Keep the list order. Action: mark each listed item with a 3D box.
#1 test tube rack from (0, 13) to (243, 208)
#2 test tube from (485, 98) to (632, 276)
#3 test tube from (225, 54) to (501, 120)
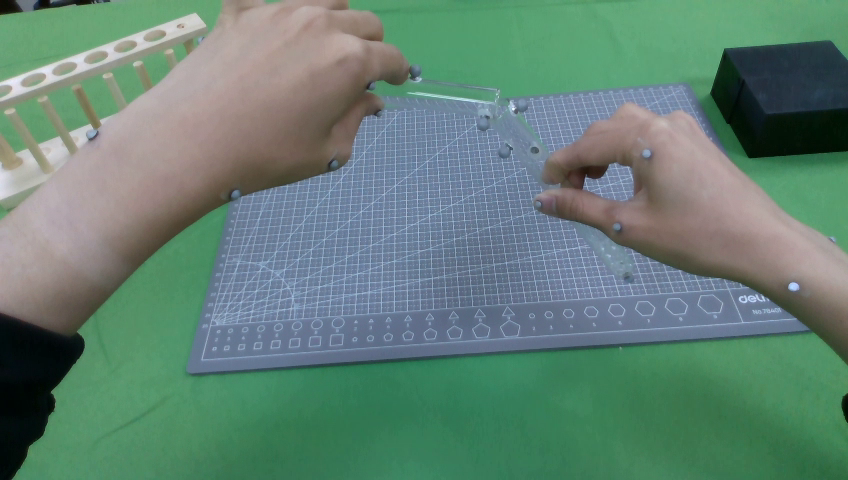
[{"bbox_3d":[-0.314,-0.131,0.594,0.242,0.086,0.066,-29,52,-18],"label":"test tube rack"},{"bbox_3d":[0.083,-0.025,0.353,0.017,0.152,0.017,-30,35,24],"label":"test tube"},{"bbox_3d":[-0.034,-0.082,0.320,0.150,0.017,0.017,9,51,7],"label":"test tube"}]
